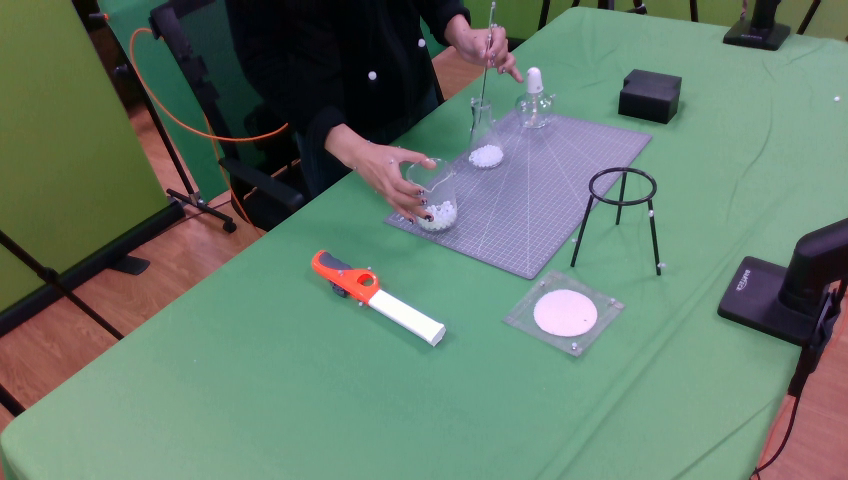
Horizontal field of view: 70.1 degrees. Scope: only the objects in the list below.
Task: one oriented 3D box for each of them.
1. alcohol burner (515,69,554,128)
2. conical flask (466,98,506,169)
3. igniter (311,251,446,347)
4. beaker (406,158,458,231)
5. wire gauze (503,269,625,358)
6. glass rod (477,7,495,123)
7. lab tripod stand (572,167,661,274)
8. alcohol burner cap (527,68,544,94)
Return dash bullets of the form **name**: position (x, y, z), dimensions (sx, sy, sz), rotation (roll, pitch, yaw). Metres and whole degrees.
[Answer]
- **alcohol burner**: position (0.221, -0.285, 1.203), dimensions (0.078, 0.119, 0.077), rotation (-4, 39, 4)
- **conical flask**: position (0.111, -0.199, 1.116), dimensions (0.075, 0.122, 0.075), rotation (-5, 40, 5)
- **igniter**: position (-0.078, 0.081, 0.899), dimensions (0.274, 0.025, 0.057), rotation (27, 62, 35)
- **beaker**: position (0.016, -0.069, 0.976), dimensions (0.074, 0.101, 0.083), rotation (-7, 41, 6)
- **wire gauze**: position (0.194, 0.100, 0.840), dimensions (0.120, 0.011, 0.125), rotation (27, 54, 36)
- **glass rod**: position (0.107, -0.298, 1.047), dimensions (0.008, 0.200, 0.008), rotation (4, 31, -2)
- **lab tripod stand**: position (0.283, -0.030, 0.879), dimensions (0.148, 0.132, 0.147), rotation (-7, 38, 6)
- **alcohol burner cap**: position (0.216, -0.312, 1.179), dimensions (0.034, 0.048, 0.033), rotation (-9, 40, 8)
